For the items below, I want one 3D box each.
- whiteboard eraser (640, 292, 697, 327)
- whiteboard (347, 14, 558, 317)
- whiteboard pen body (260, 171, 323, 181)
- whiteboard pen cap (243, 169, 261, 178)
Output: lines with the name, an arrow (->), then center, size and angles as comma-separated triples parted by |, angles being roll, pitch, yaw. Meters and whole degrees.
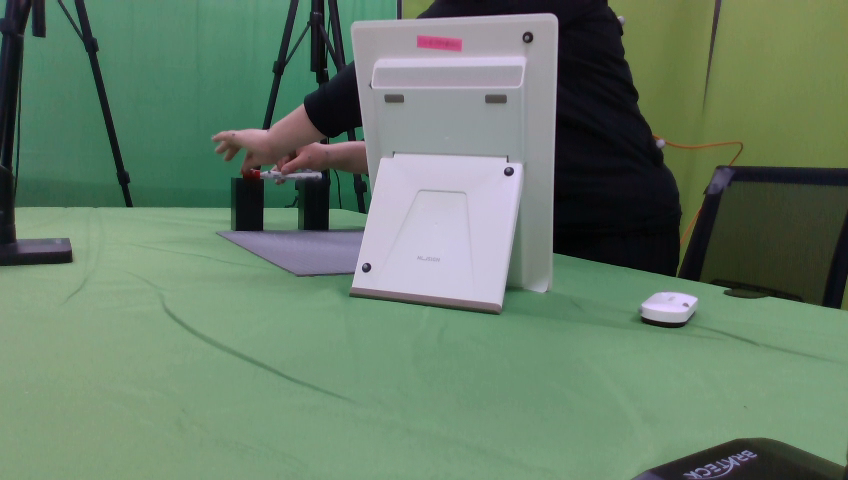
whiteboard eraser -> 0.240, 0.066, 0.590 | 0.041, 0.019, 0.102 | 7, 7, 31
whiteboard -> 0.012, -0.056, 0.609 | 0.216, 0.305, 0.144 | 5, 27, 20
whiteboard pen body -> -0.264, -0.124, 1.175 | 0.141, 0.017, 0.017 | -1, 8, -31
whiteboard pen cap -> -0.325, -0.126, 1.141 | 0.032, 0.017, 0.017 | -1, 8, -20
